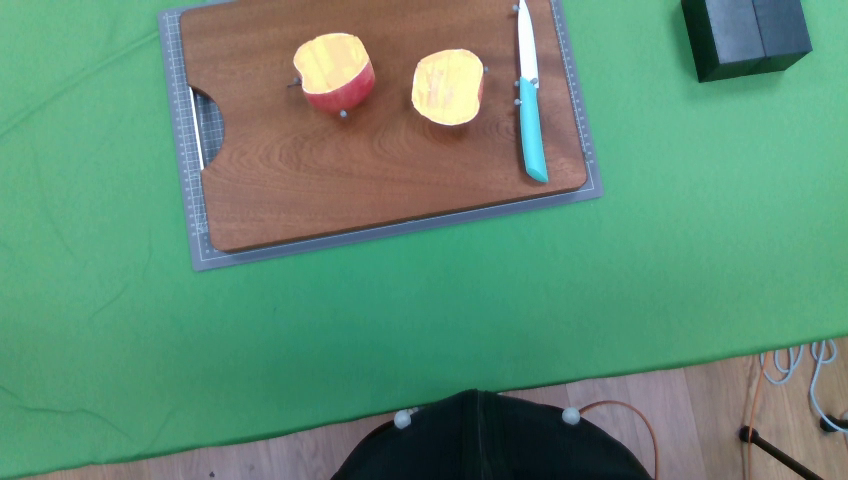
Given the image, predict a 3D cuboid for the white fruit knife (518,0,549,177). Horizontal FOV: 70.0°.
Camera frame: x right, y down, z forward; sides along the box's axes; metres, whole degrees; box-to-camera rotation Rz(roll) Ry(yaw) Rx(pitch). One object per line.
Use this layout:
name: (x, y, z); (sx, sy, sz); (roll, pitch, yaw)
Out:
white fruit knife: (0.112, -0.169, 0.642); (0.027, 0.016, 0.206); (1, 81, -29)

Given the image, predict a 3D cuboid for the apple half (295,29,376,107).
apple half: (-0.087, -0.170, 0.620); (0.074, 0.054, 0.080); (-28, 60, -1)

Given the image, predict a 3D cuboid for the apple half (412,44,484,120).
apple half: (0.027, -0.162, 0.632); (0.081, 0.033, 0.081); (1, 93, 12)
